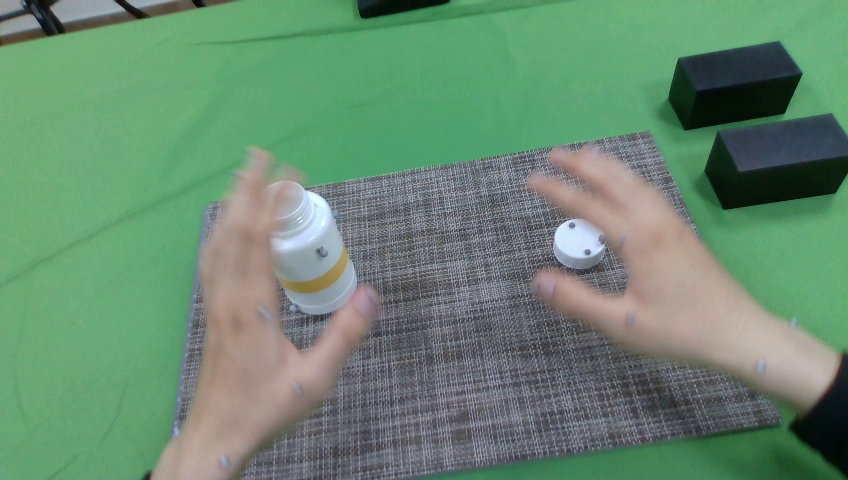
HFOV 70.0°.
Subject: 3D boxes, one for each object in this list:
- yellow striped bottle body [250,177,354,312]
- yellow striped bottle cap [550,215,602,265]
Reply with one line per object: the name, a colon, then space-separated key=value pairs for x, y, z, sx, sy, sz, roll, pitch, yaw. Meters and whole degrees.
yellow striped bottle body: x=-0.100 y=0.003 z=0.494 sx=0.063 sy=0.121 sz=0.062 roll=-4 pitch=53 yaw=6
yellow striped bottle cap: x=0.133 y=0.000 z=0.527 sx=0.044 sy=0.019 sz=0.044 roll=-3 pitch=53 yaw=4
